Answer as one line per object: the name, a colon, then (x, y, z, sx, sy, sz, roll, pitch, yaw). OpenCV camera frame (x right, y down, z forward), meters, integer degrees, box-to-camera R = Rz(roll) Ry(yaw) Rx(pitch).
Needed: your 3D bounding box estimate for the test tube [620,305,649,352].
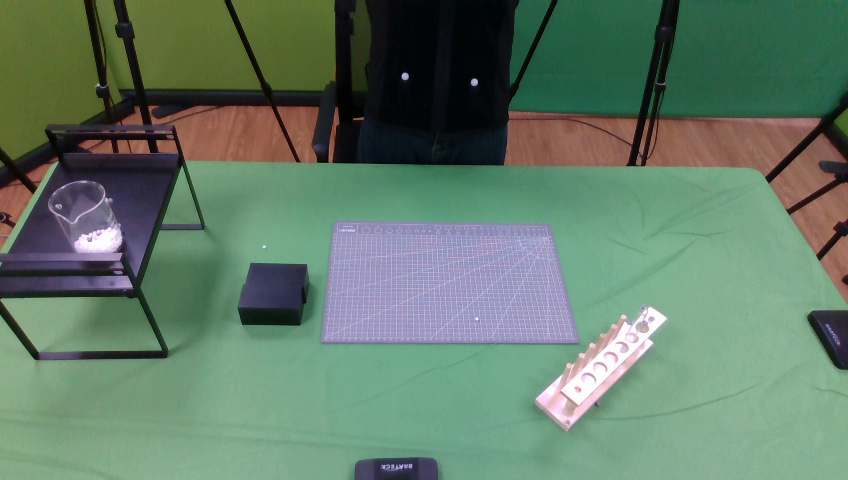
test tube: (0.330, 0.150, 0.960, 0.017, 0.151, 0.017, -1, 50, 2)

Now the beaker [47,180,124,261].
beaker: (-0.486, -0.024, 0.879, 0.074, 0.101, 0.083, -7, 48, -9)

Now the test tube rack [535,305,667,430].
test tube rack: (0.290, 0.193, 0.984, 0.242, 0.085, 0.066, -32, 57, -30)
